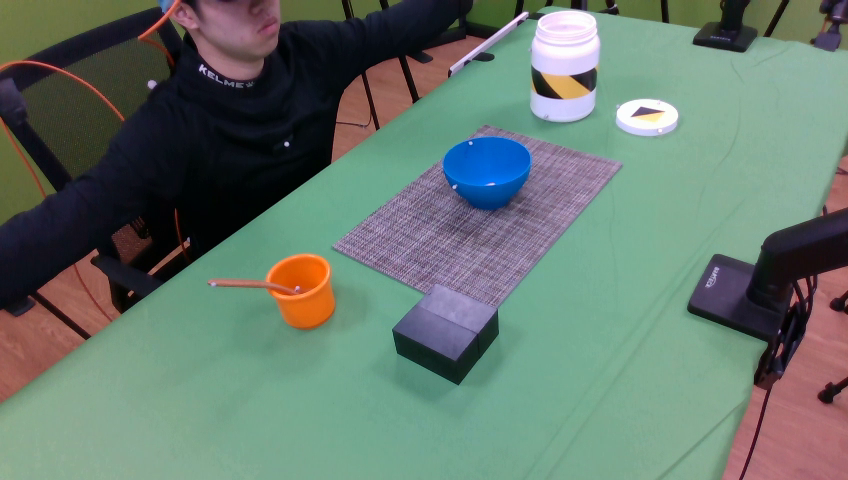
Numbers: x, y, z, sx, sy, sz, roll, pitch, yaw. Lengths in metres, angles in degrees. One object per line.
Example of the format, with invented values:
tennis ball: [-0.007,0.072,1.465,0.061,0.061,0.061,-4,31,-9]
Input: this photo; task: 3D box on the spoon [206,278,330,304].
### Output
spoon: [-0.207,0.066,0.824,0.041,0.195,0.021,34,100,40]

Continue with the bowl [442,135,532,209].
bowl: [0.108,-0.106,1.026,0.151,0.077,0.150,-4,41,4]

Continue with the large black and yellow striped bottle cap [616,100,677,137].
large black and yellow striped bottle cap: [0.438,-0.241,1.190,0.115,0.019,0.114,-4,42,4]

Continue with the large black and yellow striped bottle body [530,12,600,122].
large black and yellow striped bottle body: [0.279,-0.344,1.202,0.131,0.185,0.130,-4,41,4]
